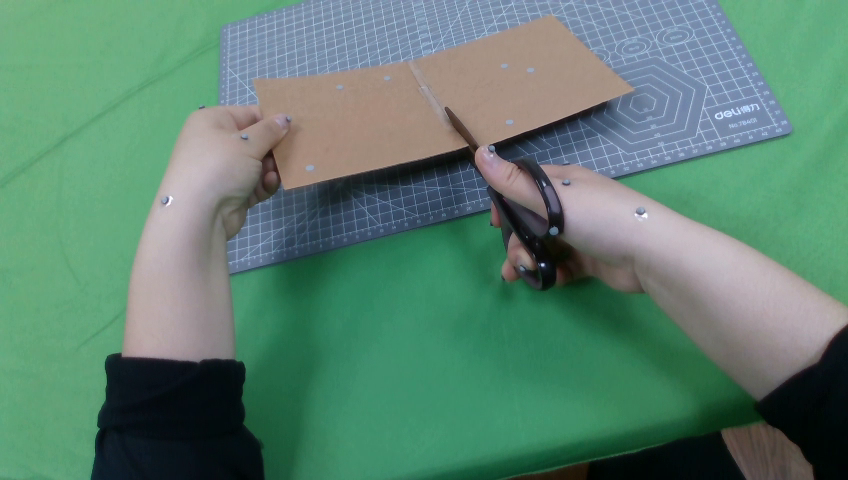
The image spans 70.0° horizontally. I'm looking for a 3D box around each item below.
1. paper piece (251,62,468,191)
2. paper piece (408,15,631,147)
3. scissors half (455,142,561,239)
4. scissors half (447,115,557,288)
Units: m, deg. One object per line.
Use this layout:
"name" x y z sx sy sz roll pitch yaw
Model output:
"paper piece" -0.055 -0.095 0.464 0.138 0.009 0.134 -15 44 -12
"paper piece" 0.071 -0.134 0.489 0.135 0.004 0.134 -20 49 -8
"scissors half" 0.044 -0.051 0.405 0.013 0.040 0.173 -15 31 -14
"scissors half" 0.046 -0.035 0.420 0.013 0.040 0.173 -18 56 -11
